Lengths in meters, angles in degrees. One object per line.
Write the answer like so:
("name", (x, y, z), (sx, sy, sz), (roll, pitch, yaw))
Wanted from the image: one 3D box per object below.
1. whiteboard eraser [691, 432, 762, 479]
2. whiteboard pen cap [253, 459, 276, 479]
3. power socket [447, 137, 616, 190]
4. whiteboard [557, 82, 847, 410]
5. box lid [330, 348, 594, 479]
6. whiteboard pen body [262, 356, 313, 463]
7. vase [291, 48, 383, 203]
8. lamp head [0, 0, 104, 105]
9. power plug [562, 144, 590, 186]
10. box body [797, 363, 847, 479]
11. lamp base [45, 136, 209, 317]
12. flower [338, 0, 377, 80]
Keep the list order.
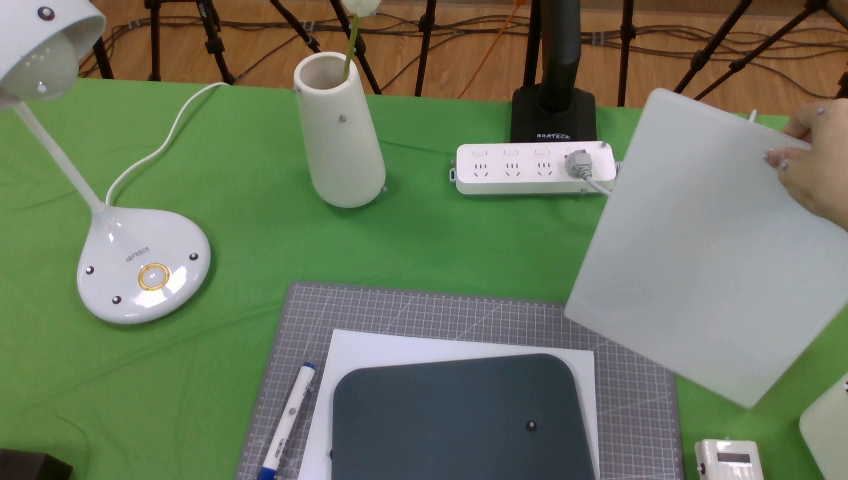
("whiteboard eraser", (0.292, 0.242, 0.576), (0.055, 0.042, 0.111), (3, 57, 3))
("whiteboard pen cap", (-0.161, 0.238, 0.607), (0.018, 0.018, 0.033), (11, 60, 10))
("power socket", (0.144, -0.103, 0.814), (0.227, 0.033, 0.071), (0, 57, 2))
("whiteboard", (0.295, -0.012, 0.604), (0.216, 0.308, 0.143), (28, 49, 19))
("box lid", (0.041, 0.280, 0.577), (0.263, 0.015, 0.368), (-4, 57, -1))
("whiteboard pen body", (-0.146, 0.189, 0.635), (0.017, 0.017, 0.140), (12, 60, 10))
("vase", (-0.108, -0.134, 0.745), (0.098, 0.202, 0.097), (-2, 56, 3))
("lamp head", (-0.325, -0.177, 0.445), (0.123, 0.112, 0.112), (45, 62, -15))
("power plug", (0.193, -0.090, 0.777), (0.035, 0.053, 0.072), (9, 64, 8))
("box body", (0.523, 0.251, 0.488), (0.254, 0.162, 0.360), (-11, 57, -5))
("lamp base", (-0.362, -0.025, 0.694), (0.178, 0.182, 0.160), (34, 64, 25))
("flower", (-0.093, -0.171, 0.670), (0.044, 0.363, 0.038), (-32, 78, -27))
